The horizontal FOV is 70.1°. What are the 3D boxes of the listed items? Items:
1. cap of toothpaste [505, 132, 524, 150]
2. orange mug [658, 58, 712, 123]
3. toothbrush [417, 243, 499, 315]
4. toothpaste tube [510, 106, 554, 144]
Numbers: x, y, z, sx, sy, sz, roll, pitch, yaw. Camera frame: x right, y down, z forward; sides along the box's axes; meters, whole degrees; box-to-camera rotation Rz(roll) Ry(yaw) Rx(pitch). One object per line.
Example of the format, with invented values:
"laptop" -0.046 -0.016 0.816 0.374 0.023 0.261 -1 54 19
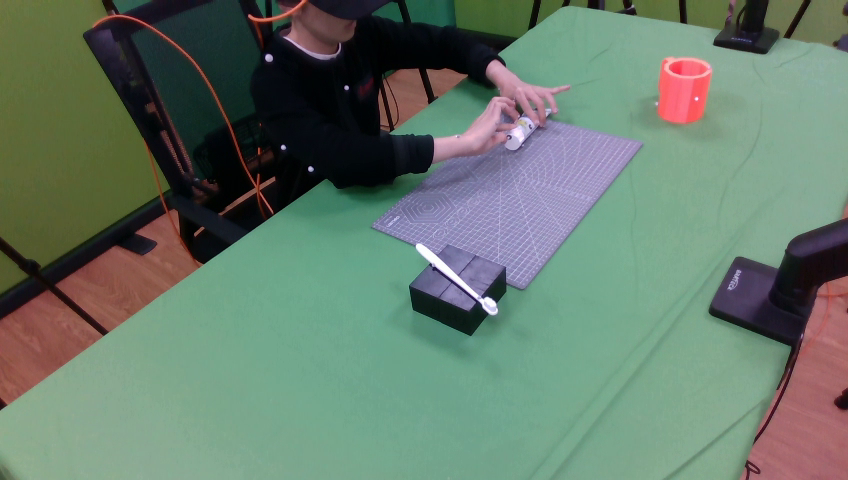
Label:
"cap of toothpaste" 0.173 -0.190 1.153 0.037 0.037 0.011 12 41 21
"orange mug" 0.504 -0.304 1.193 0.083 0.101 0.125 -13 45 -5
"toothbrush" 0.043 0.049 0.842 0.014 0.017 0.180 -31 45 -21
"toothpaste tube" 0.211 -0.233 1.208 0.055 0.034 0.165 18 42 20
